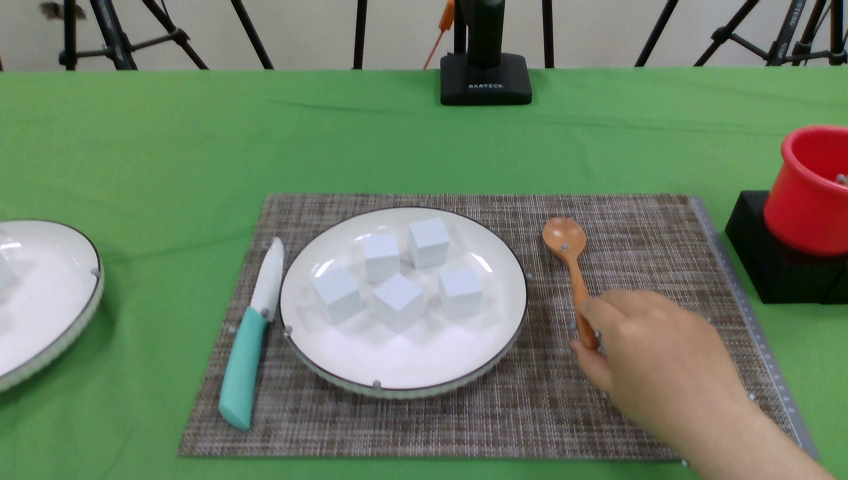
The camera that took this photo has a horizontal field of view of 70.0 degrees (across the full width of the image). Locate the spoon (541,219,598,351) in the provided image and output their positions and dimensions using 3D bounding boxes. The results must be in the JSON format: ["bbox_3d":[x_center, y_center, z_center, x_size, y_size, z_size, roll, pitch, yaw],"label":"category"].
[{"bbox_3d":[0.128,0.030,0.522,0.041,0.022,0.192,6,27,3],"label":"spoon"}]

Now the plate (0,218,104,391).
[{"bbox_3d":[-0.380,0.061,0.514,0.209,0.038,0.207,0,43,0],"label":"plate"}]

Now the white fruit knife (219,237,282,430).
[{"bbox_3d":[-0.144,0.067,0.520,0.027,0.016,0.205,21,38,-19],"label":"white fruit knife"}]

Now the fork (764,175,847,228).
[{"bbox_3d":[0.382,-0.066,0.491,0.207,0.019,0.028,-36,29,25],"label":"fork"}]

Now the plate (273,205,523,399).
[{"bbox_3d":[-0.021,0.050,0.519,0.208,0.039,0.205,0,44,0],"label":"plate"}]
